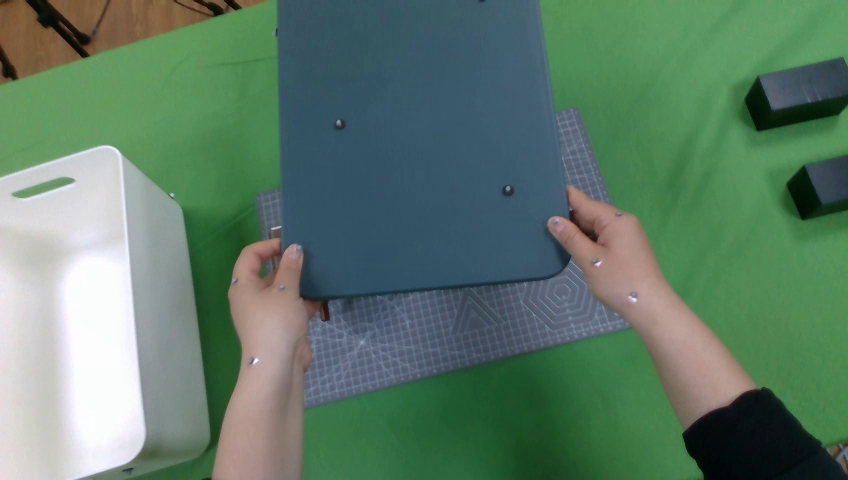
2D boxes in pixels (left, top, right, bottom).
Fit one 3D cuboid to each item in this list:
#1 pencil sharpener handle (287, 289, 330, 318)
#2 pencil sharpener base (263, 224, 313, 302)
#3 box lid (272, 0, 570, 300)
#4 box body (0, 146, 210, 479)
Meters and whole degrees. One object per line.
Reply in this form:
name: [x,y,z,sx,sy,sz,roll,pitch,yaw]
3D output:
pencil sharpener handle: [-0.128,0.070,0.694,0.036,0.068,0.030,-19,69,14]
pencil sharpener base: [-0.140,0.029,0.723,0.061,0.108,0.076,-15,70,4]
box lid: [-0.014,-0.134,0.579,0.263,0.015,0.369,-6,75,3]
box body: [-0.418,0.107,0.714,0.254,0.161,0.361,-17,70,2]
